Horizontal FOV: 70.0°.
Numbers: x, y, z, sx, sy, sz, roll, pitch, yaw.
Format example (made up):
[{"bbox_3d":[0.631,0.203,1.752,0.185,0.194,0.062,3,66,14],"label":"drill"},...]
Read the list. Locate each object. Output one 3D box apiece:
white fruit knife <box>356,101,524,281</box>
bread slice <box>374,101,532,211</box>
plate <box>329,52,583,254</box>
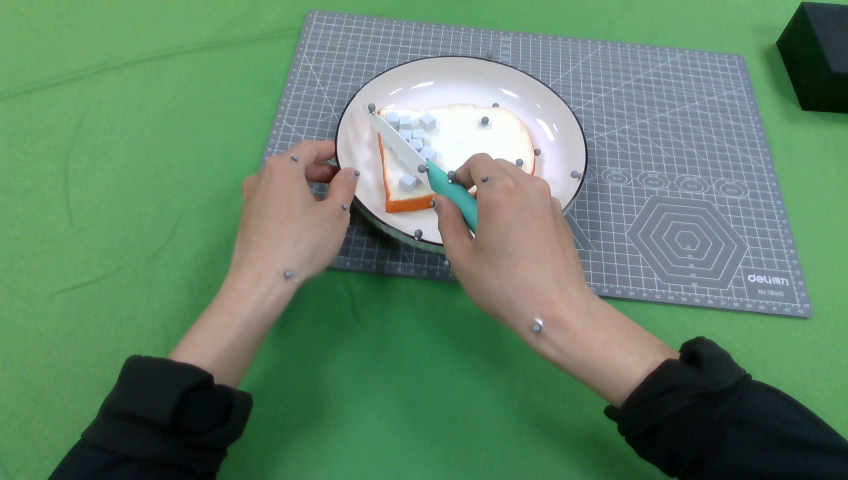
[{"bbox_3d":[0.003,-0.047,0.443,0.016,0.027,0.205,-24,54,-28],"label":"white fruit knife"},{"bbox_3d":[0.025,-0.077,0.513,0.132,0.019,0.104,-7,59,-6],"label":"bread slice"},{"bbox_3d":[0.026,-0.074,0.508,0.209,0.038,0.207,2,58,-3],"label":"plate"}]
